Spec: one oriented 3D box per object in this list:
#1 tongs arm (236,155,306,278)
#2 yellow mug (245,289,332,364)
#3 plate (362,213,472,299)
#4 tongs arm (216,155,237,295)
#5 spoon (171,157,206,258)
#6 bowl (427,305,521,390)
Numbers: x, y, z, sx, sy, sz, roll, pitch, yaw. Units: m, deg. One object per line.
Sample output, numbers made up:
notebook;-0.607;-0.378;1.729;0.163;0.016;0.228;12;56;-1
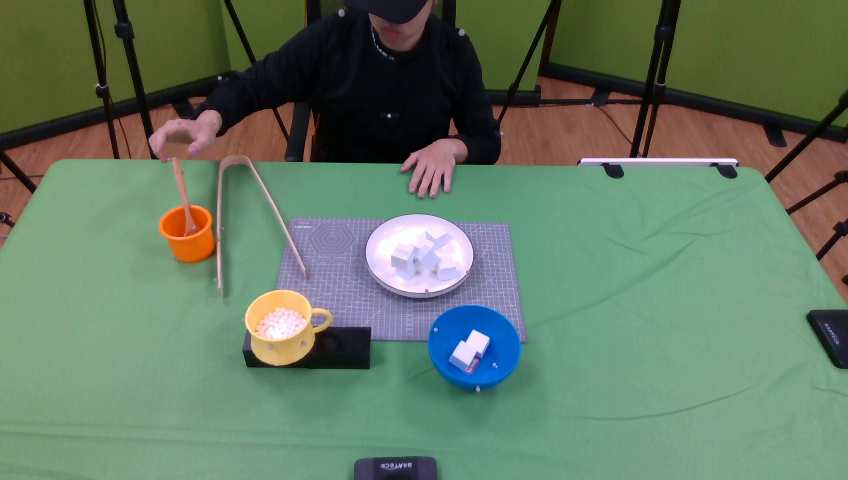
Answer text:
tongs arm;-0.311;-0.059;1.223;0.028;0.028;0.385;-22;50;-18
yellow mug;-0.210;0.133;0.954;0.131;0.064;0.099;-9;48;-14
plate;-0.014;0.034;1.149;0.208;0.039;0.206;3;46;-2
tongs arm;-0.387;-0.044;1.201;0.051;0.026;0.382;-10;46;-12
spoon;-0.444;-0.061;1.133;0.042;0.193;0.021;-12;4;-21
bowl;0.076;0.188;0.985;0.151;0.077;0.150;3;46;-3
